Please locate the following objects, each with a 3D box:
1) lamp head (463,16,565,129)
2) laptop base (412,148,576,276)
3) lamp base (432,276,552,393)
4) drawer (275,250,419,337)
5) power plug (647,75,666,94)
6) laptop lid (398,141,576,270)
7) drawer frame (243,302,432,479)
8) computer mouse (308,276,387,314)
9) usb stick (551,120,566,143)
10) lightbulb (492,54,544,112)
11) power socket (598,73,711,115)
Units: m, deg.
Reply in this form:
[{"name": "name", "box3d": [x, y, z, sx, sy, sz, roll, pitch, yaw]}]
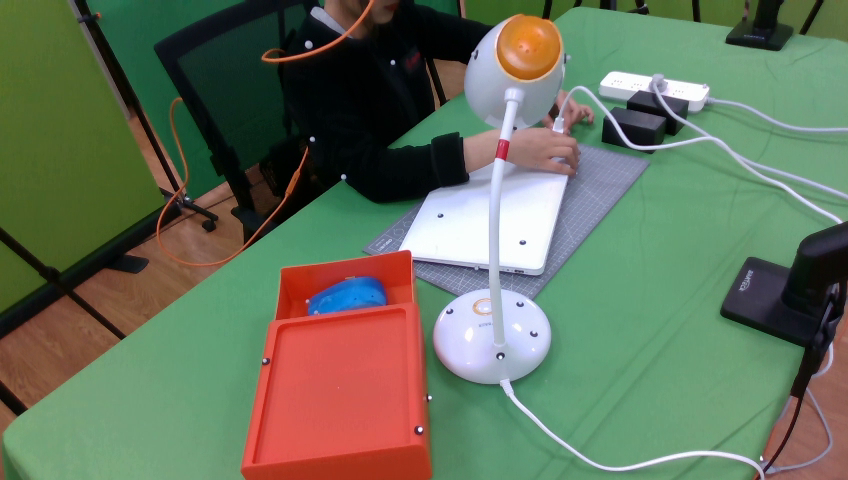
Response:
[{"name": "lamp head", "box3d": [0.101, -0.184, 0.655, 0.112, 0.112, 0.123, -9, 1, 0]}, {"name": "laptop base", "box3d": [0.123, -0.069, 1.049, 0.234, 0.023, 0.354, 4, 42, 20]}, {"name": "lamp base", "box3d": [0.085, 0.075, 0.756, 0.161, 0.181, 0.178, -14, 44, -5]}, {"name": "drawer", "box3d": [-0.104, 0.117, 0.825, 0.194, 0.073, 0.210, -8, 40, 1]}, {"name": "power plug", "box3d": [0.457, -0.301, 1.212, 0.073, 0.053, 0.035, -36, 46, -28]}, {"name": "laptop lid", "box3d": [0.119, -0.078, 1.042, 0.240, 0.013, 0.356, 6, 42, 21]}, {"name": "drawer frame", "box3d": [-0.096, 0.185, 0.738, 0.202, 0.083, 0.212, -8, 40, 1]}, {"name": "computer mouse", "box3d": [-0.112, 0.089, 0.881, 0.117, 0.041, 0.062, -16, 42, -1]}, {"name": "usb stick", "box3d": [0.256, -0.201, 1.156, 0.021, 0.027, 0.059, 10, 54, 13]}, {"name": "lightbulb", "box3d": [0.108, -0.181, 0.679, 0.059, 0.059, 0.107, -9, -3, 0]}, {"name": "power socket", "box3d": [0.470, -0.303, 1.249, 0.225, 0.033, 0.072, 20, 49, 30]}]
